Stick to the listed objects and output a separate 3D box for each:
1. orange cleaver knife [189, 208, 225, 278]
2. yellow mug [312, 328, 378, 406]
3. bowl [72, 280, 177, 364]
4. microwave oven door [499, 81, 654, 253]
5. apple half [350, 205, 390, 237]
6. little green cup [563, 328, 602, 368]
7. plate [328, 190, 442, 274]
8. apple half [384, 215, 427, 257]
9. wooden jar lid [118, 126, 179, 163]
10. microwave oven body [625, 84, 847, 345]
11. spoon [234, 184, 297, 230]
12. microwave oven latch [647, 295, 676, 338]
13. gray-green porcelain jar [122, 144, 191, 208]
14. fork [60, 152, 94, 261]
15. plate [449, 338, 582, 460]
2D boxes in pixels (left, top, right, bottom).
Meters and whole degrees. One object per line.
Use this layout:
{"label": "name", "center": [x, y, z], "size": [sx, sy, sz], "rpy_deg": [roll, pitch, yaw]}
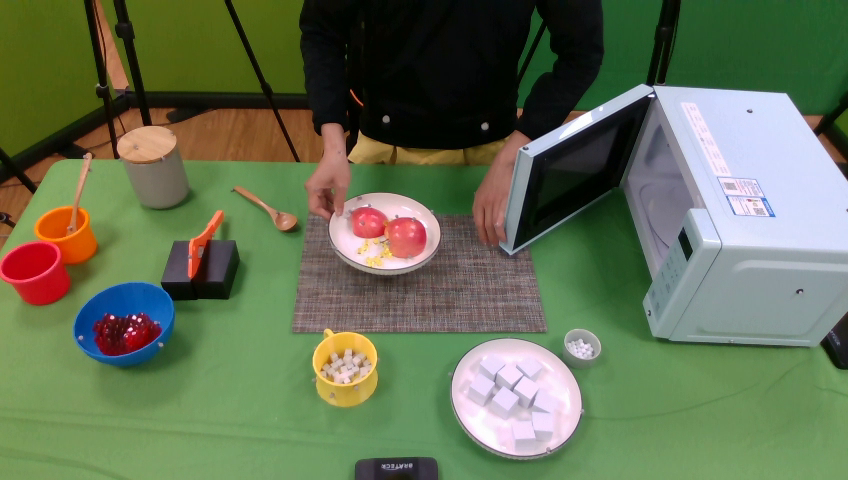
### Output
{"label": "orange cleaver knife", "center": [-0.400, 0.002, 1.122], "size": [0.012, 0.077, 0.210], "rpy_deg": [4, 23, -4]}
{"label": "yellow mug", "center": [-0.132, 0.193, 0.971], "size": [0.100, 0.064, 0.130], "rpy_deg": [-22, 51, -23]}
{"label": "bowl", "center": [-0.472, 0.147, 0.982], "size": [0.151, 0.077, 0.150], "rpy_deg": [2, 46, -2]}
{"label": "microwave oven door", "center": [0.298, -0.144, 1.175], "size": [0.356, 0.245, 0.039], "rpy_deg": [-30, 55, -28]}
{"label": "apple half", "center": [-0.100, -0.043, 1.132], "size": [0.081, 0.033, 0.081], "rpy_deg": [5, 48, -6]}
{"label": "little green cup", "center": [0.265, 0.184, 1.025], "size": [0.061, 0.039, 0.061], "rpy_deg": [1, 46, -1]}
{"label": "plate", "center": [-0.071, -0.011, 1.113], "size": [0.209, 0.038, 0.208], "rpy_deg": [5, 44, -4]}
{"label": "apple half", "center": [-0.031, -0.015, 1.102], "size": [0.075, 0.053, 0.080], "rpy_deg": [-1, 45, -14]}
{"label": "wooden jar lid", "center": [-0.528, -0.181, 1.167], "size": [0.108, 0.021, 0.107], "rpy_deg": [3, 47, -3]}
{"label": "microwave oven body", "center": [0.569, -0.054, 1.116], "size": [0.326, 0.261, 0.439], "rpy_deg": [2, 46, -1]}
{"label": "spoon", "center": [-0.327, -0.073, 1.239], "size": [0.193, 0.022, 0.041], "rpy_deg": [34, 71, 25]}
{"label": "microwave oven latch", "center": [0.413, 0.133, 1.060], "size": [0.030, 0.029, 0.078], "rpy_deg": [4, 46, 1]}
{"label": "gray-green porcelain jar", "center": [-0.531, -0.137, 1.213], "size": [0.106, 0.127, 0.105], "rpy_deg": [2, 46, -2]}
{"label": "fork", "center": [-0.638, -0.063, 1.119], "size": [0.028, 0.018, 0.207], "rpy_deg": [12, 90, 7]}
{"label": "plate", "center": [0.141, 0.251, 0.956], "size": [0.208, 0.039, 0.206], "rpy_deg": [2, 46, -2]}
